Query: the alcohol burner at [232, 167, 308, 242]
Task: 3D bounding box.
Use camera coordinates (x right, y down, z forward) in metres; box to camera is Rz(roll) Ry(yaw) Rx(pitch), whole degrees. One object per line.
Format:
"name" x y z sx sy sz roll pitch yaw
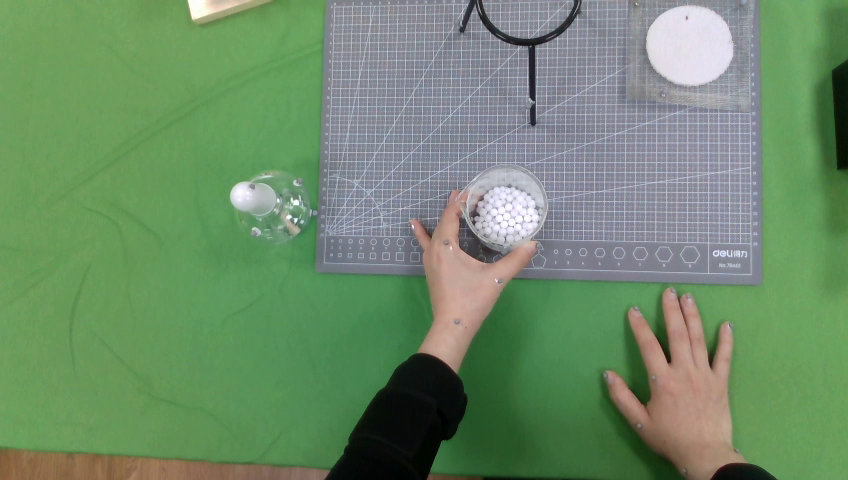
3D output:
"alcohol burner" -0.160 -0.039 0.603 0.078 0.119 0.077 -1 83 6

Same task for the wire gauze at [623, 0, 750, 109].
"wire gauze" 0.266 -0.198 0.614 0.125 0.011 0.121 6 86 5

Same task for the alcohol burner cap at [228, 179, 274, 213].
"alcohol burner cap" -0.165 -0.042 0.567 0.034 0.048 0.034 0 89 7

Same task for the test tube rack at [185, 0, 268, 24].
"test tube rack" -0.157 -0.312 0.637 0.242 0.085 0.066 -16 83 5

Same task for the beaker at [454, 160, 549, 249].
"beaker" 0.073 -0.029 0.579 0.084 0.100 0.074 7 86 8

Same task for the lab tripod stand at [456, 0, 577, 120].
"lab tripod stand" 0.094 -0.202 0.572 0.148 0.132 0.148 0 86 5
